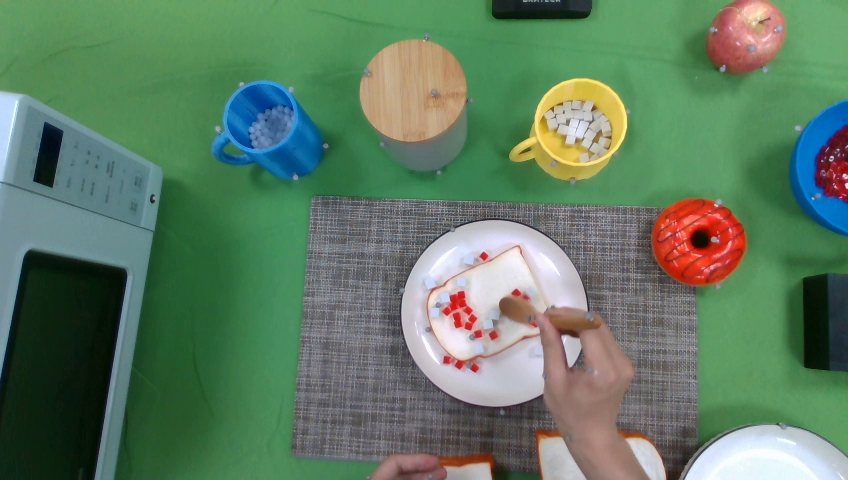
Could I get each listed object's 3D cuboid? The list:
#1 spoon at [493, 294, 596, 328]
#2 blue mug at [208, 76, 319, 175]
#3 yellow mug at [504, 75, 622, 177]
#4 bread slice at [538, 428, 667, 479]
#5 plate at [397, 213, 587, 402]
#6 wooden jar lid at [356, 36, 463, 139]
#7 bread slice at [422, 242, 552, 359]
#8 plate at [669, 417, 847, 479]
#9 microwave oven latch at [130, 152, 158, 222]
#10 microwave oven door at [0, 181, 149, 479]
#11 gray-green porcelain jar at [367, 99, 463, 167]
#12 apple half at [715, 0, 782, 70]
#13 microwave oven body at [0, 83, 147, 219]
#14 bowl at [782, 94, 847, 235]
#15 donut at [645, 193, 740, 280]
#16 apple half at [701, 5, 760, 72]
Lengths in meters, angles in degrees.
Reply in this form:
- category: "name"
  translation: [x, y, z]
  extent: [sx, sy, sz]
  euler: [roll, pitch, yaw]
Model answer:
- category: "spoon"
  translation: [0.111, 0.072, 0.577]
  extent: [0.021, 0.193, 0.042]
  euler: [-44, 98, -10]
- category: "blue mug"
  translation: [-0.188, -0.122, 0.695]
  extent: [0.116, 0.106, 0.082]
  euler: [-23, 80, 1]
- category: "yellow mug"
  translation: [0.153, -0.122, 0.690]
  extent: [0.131, 0.064, 0.099]
  euler: [-21, 81, 2]
- category: "bread slice"
  translation: [0.188, 0.252, 0.624]
  extent: [0.135, 0.018, 0.106]
  euler: [-3, 79, -16]
- category: "plate"
  translation: [0.074, 0.074, 0.679]
  extent: [0.207, 0.039, 0.207]
  euler: [-1, 82, 5]
- category: "wooden jar lid"
  translation: [-0.014, -0.152, 0.613]
  extent: [0.108, 0.021, 0.108]
  euler: [-1, 80, 5]
- category: "bread slice"
  translation: [0.065, 0.075, 0.681]
  extent: [0.131, 0.019, 0.104]
  euler: [-24, 80, 0]
- category: "plate"
  translation: [0.354, 0.289, 0.632]
  extent: [0.209, 0.038, 0.208]
  euler: [-1, 82, 5]
- category: "microwave oven latch"
  translation: [-0.336, -0.063, 0.714]
  extent: [0.030, 0.029, 0.079]
  euler: [8, 84, 5]
- category: "microwave oven door"
  translation: [-0.371, 0.139, 0.587]
  extent: [0.039, 0.244, 0.354]
  euler: [5, 82, 6]
- category: "gray-green porcelain jar"
  translation: [-0.009, -0.143, 0.674]
  extent: [0.106, 0.127, 0.105]
  euler: [-1, 82, 5]
- category: "apple half"
  translation: [0.368, -0.238, 0.685]
  extent: [0.053, 0.075, 0.080]
  euler: [-29, 77, -6]
- category: "microwave oven body"
  translation: [-0.510, 0.083, 0.610]
  extent: [0.326, 0.261, 0.440]
  euler: [6, 83, 5]
- category: "bowl"
  translation: [0.454, -0.073, 0.653]
  extent: [0.151, 0.077, 0.151]
  euler: [-1, 83, 5]
- category: "donut"
  translation: [0.295, -0.004, 0.669]
  extent: [0.099, 0.048, 0.099]
  euler: [0, 83, 4]
- category: "apple half"
  translation: [0.335, -0.218, 0.683]
  extent: [0.033, 0.081, 0.081]
  euler: [-30, 80, -5]
